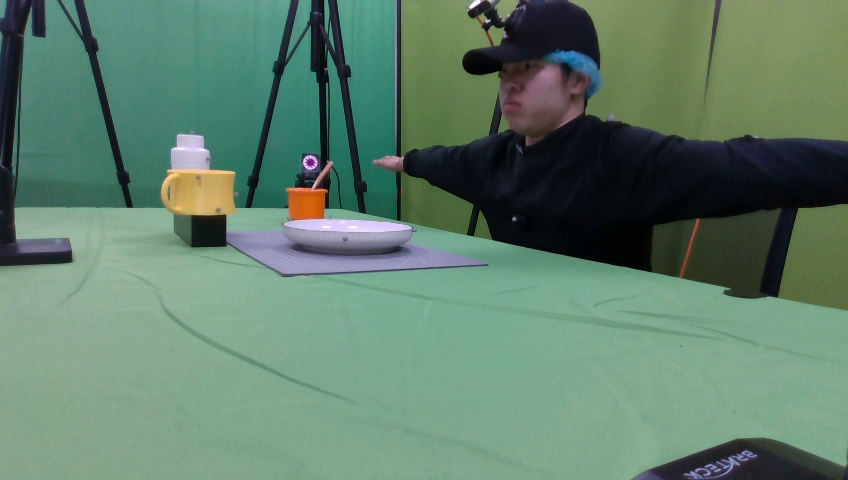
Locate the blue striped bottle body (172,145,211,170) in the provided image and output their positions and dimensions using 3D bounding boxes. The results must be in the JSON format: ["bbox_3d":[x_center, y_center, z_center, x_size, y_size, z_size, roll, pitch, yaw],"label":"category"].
[{"bbox_3d":[-0.407,-0.120,1.059,0.063,0.120,0.063,3,8,0],"label":"blue striped bottle body"}]

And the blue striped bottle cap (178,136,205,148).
[{"bbox_3d":[-0.405,-0.171,1.053,0.044,0.020,0.044,3,10,0],"label":"blue striped bottle cap"}]

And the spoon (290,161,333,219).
[{"bbox_3d":[-0.251,-0.117,1.381,0.041,0.193,0.022,4,-37,26],"label":"spoon"}]

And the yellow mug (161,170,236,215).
[{"bbox_3d":[-0.354,-0.074,0.935,0.099,0.064,0.131,5,9,21],"label":"yellow mug"}]

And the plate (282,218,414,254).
[{"bbox_3d":[-0.120,-0.007,0.971,0.208,0.039,0.207,2,7,0],"label":"plate"}]
